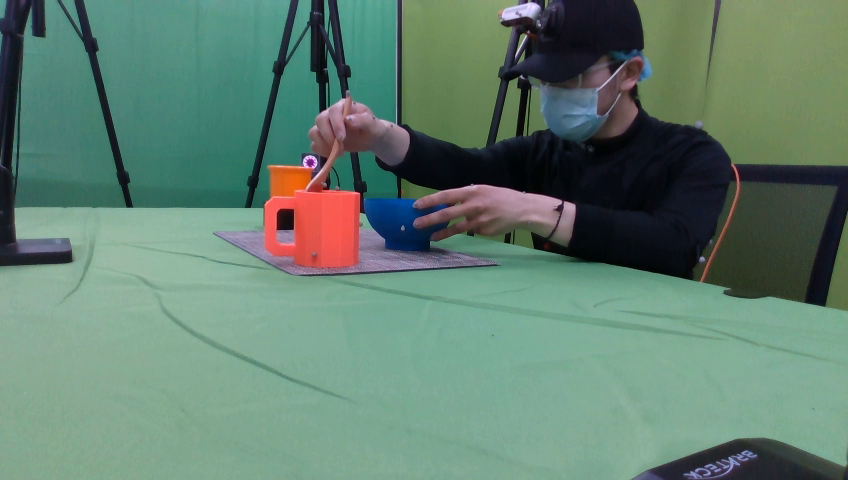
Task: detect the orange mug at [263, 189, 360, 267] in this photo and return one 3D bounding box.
[{"bbox_3d":[-0.147,-0.019,0.794,0.127,0.100,0.083,5,6,-20],"label":"orange mug"}]

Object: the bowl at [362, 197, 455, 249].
[{"bbox_3d":[-0.027,-0.028,0.985,0.151,0.077,0.151,2,7,0],"label":"bowl"}]

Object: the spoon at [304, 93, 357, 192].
[{"bbox_3d":[-0.126,-0.113,0.820,0.042,0.193,0.021,22,-9,-14],"label":"spoon"}]
